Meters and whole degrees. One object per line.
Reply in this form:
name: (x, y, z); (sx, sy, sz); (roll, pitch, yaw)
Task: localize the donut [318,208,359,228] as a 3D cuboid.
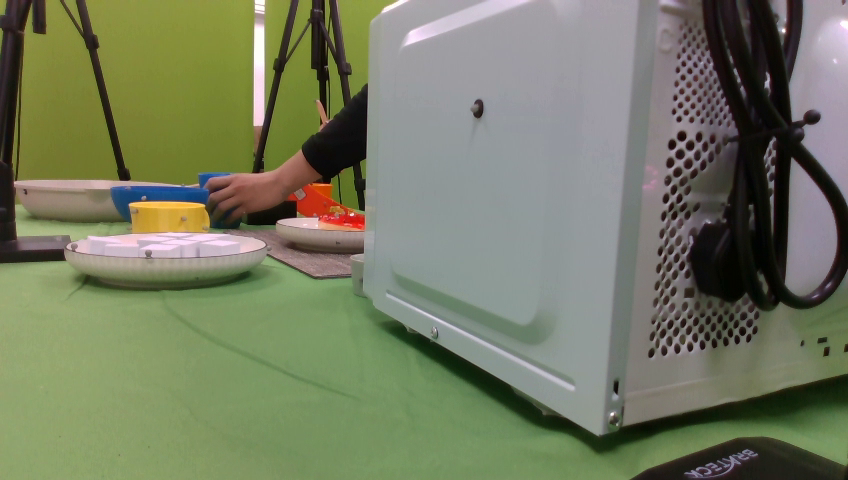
donut: (-0.118, -0.023, 0.954); (0.099, 0.048, 0.099); (5, 6, 0)

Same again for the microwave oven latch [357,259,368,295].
microwave oven latch: (-0.019, 0.031, 0.529); (0.079, 0.029, 0.030); (-1, 7, -26)

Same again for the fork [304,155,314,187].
fork: (-0.268, -0.134, 1.446); (0.028, 0.018, 0.207); (1, -36, -2)

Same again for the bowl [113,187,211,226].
bowl: (-0.436, -0.046, 1.013); (0.151, 0.077, 0.151); (2, 7, 0)

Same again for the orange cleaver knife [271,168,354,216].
orange cleaver knife: (-0.236, -0.084, 1.332); (0.212, 0.077, 0.012); (31, -9, -31)

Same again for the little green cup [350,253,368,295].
little green cup: (-0.048, 0.035, 0.632); (0.061, 0.038, 0.061); (3, 6, 0)

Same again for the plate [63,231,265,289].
plate: (-0.288, 0.021, 0.687); (0.208, 0.039, 0.207); (2, 8, 0)

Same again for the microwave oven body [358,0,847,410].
microwave oven body: (0.210, -0.051, 0.471); (0.444, 0.260, 0.324); (-1, 7, -28)

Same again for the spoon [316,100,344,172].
spoon: (-0.204, -0.224, 1.292); (0.042, 0.193, 0.021); (3, -29, -38)

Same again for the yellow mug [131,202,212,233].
yellow mug: (-0.356, -0.020, 0.878); (0.099, 0.064, 0.131); (5, 7, 22)

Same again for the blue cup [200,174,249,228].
blue cup: (-0.379, -0.075, 1.153); (0.093, 0.100, 0.092); (0, 7, 0)

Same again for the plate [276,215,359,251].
plate: (-0.125, -0.012, 0.950); (0.209, 0.038, 0.209); (2, 7, 0)

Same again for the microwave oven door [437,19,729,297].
microwave oven door: (0.180, -0.076, 0.618); (0.358, 0.243, 0.039); (-2, 9, -28)

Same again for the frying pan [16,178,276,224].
frying pan: (-0.553, -0.097, 1.265); (0.490, 0.102, 0.305); (-10, 13, -24)
